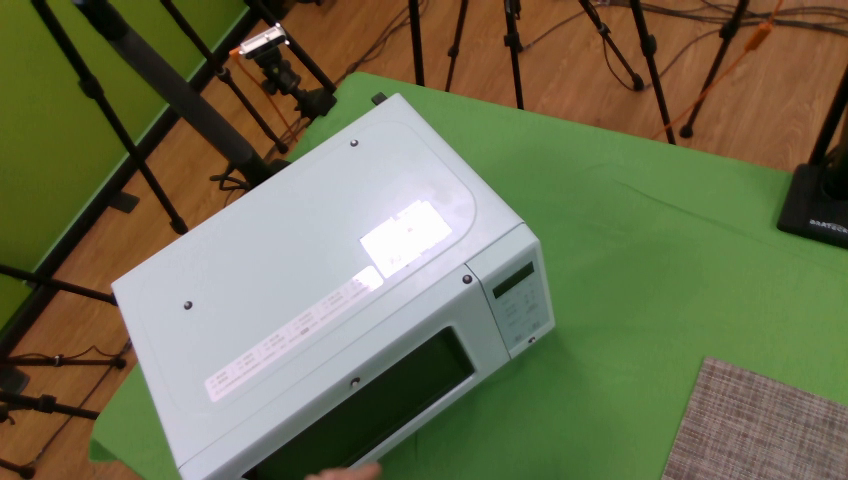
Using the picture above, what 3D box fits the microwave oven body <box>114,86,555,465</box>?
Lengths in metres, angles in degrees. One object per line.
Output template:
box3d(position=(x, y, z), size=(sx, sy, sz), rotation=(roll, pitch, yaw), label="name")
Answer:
box3d(position=(-0.104, 0.072, 0.798), size=(0.441, 0.263, 0.322), rotation=(-35, 57, -5), label="microwave oven body")

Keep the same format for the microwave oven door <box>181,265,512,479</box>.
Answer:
box3d(position=(-0.064, 0.188, 0.710), size=(0.356, 0.246, 0.039), rotation=(-35, 56, -6), label="microwave oven door")

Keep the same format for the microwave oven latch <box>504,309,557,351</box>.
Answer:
box3d(position=(0.142, 0.115, 0.815), size=(0.079, 0.030, 0.030), rotation=(-34, 57, -4), label="microwave oven latch")
